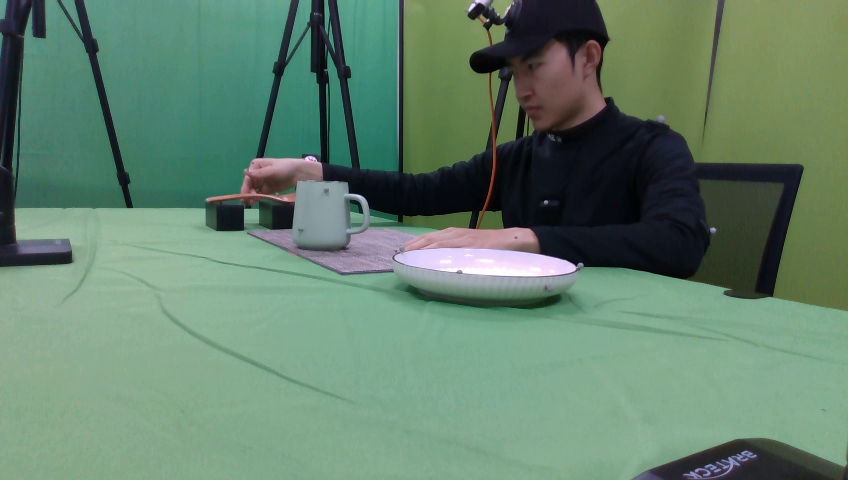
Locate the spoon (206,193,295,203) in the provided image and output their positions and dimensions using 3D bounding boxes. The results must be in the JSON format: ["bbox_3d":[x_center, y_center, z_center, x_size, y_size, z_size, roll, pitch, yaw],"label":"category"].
[{"bbox_3d":[-0.335,-0.087,1.214,0.195,0.021,0.041,-2,25,-28],"label":"spoon"}]

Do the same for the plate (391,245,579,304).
[{"bbox_3d":[0.066,0.038,0.683,0.209,0.038,0.209,2,7,0],"label":"plate"}]

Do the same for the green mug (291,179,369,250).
[{"bbox_3d":[-0.144,-0.040,0.944,0.125,0.105,0.093,4,7,16],"label":"green mug"}]
